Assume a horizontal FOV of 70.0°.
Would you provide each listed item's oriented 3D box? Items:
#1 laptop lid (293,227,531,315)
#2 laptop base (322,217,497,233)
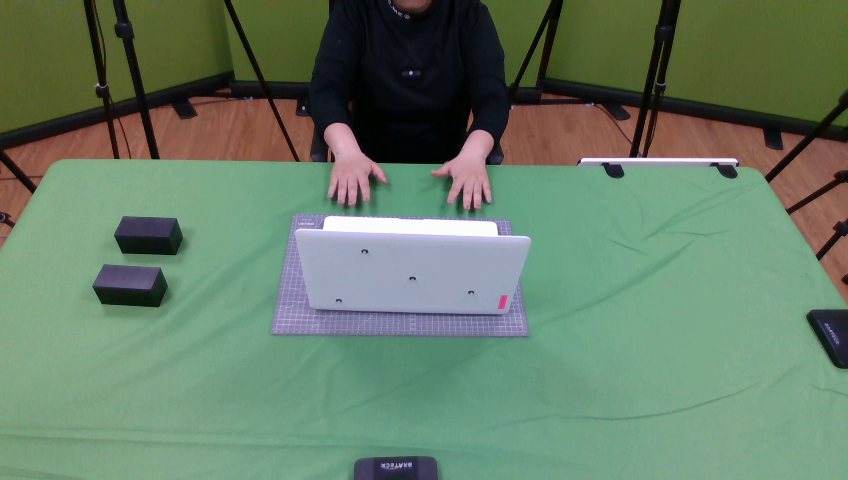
[{"bbox_3d":[-0.021,0.058,0.975,0.357,0.243,0.013,3,53,-4],"label":"laptop lid"},{"bbox_3d":[-0.028,0.045,1.154,0.354,0.023,0.234,2,43,-3],"label":"laptop base"}]
